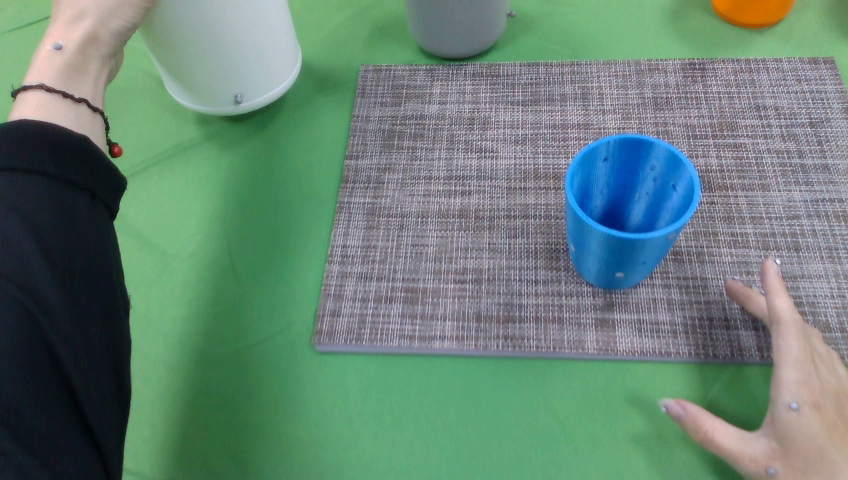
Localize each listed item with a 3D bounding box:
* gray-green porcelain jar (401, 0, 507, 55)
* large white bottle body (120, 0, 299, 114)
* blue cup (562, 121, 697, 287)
[{"bbox_3d":[0.027,-0.252,0.578,0.106,0.127,0.105,-3,60,5],"label":"gray-green porcelain jar"},{"bbox_3d":[-0.187,-0.215,0.510,0.130,0.186,0.129,-1,57,1],"label":"large white bottle body"},{"bbox_3d":[0.139,-0.014,0.438,0.092,0.101,0.092,-3,58,6],"label":"blue cup"}]
